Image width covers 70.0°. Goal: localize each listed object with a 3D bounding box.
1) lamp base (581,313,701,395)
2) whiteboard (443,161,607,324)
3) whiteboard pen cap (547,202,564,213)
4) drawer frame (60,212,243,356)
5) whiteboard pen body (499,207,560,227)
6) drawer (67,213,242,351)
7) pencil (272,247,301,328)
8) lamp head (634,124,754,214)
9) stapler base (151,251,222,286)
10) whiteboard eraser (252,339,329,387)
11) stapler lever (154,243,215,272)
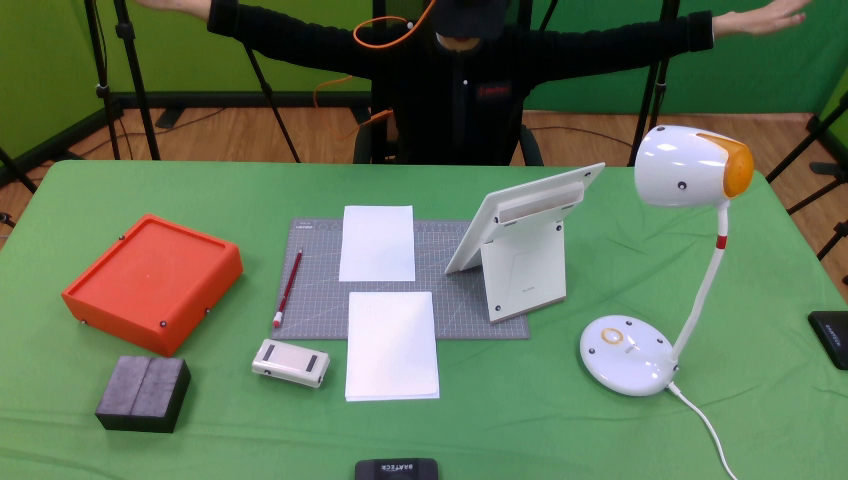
[{"bbox_3d":[0.361,0.144,0.973,0.178,0.181,0.160,34,53,23],"label":"lamp base"},{"bbox_3d":[0.185,0.026,1.028,0.217,0.306,0.143,-15,68,-18],"label":"whiteboard"},{"bbox_3d":[0.277,-0.066,1.275,0.033,0.018,0.018,-18,50,-15],"label":"whiteboard pen cap"},{"bbox_3d":[-0.462,0.070,1.053,0.201,0.083,0.213,18,48,12],"label":"drawer frame"},{"bbox_3d":[0.222,-0.051,1.259,0.141,0.017,0.017,-15,49,-16],"label":"whiteboard pen body"},{"bbox_3d":[-0.461,0.068,1.057,0.194,0.073,0.211,19,48,13],"label":"drawer"},{"bbox_3d":[-0.248,0.081,1.104,0.012,0.012,0.193,6,44,1],"label":"pencil"},{"bbox_3d":[0.351,-0.089,0.775,0.112,0.113,0.122,-30,30,-28],"label":"lamp head"},{"bbox_3d":[-0.431,0.047,1.103,0.130,0.024,0.041,17,34,13],"label":"stapler base"},{"bbox_3d":[-0.215,0.199,0.976,0.112,0.042,0.055,12,45,7],"label":"whiteboard eraser"},{"bbox_3d":[-0.430,0.025,1.088,0.118,0.040,0.027,16,34,13],"label":"stapler lever"}]
